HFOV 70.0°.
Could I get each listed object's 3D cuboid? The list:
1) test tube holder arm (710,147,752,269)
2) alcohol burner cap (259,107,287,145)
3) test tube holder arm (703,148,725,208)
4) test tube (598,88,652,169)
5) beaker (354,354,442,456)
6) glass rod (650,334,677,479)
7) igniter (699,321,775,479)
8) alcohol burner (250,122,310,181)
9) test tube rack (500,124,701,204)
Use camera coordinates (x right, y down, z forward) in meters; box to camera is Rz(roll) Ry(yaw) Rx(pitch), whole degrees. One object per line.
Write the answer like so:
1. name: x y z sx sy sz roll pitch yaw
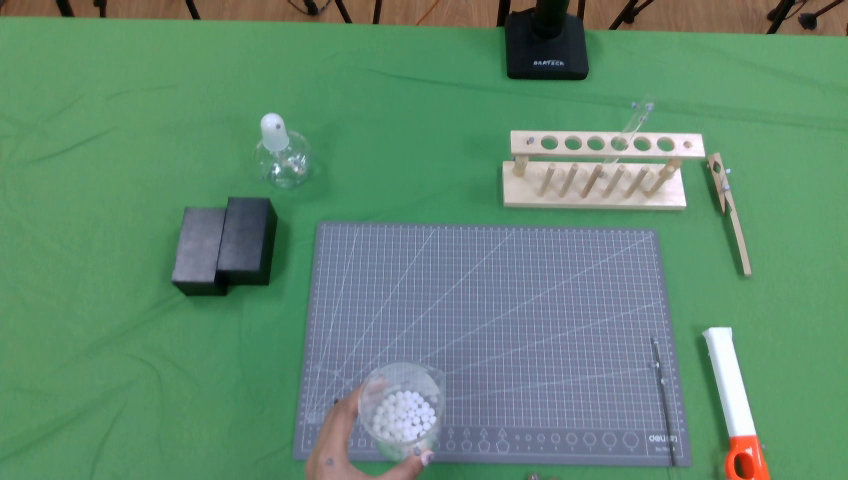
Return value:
1. test tube holder arm: 0.409 -0.046 0.811 0.013 0.015 0.177 -20 63 29
2. alcohol burner cap: -0.188 -0.144 0.749 0.034 0.048 0.033 3 60 -5
3. test tube holder arm: 0.400 -0.085 0.831 0.010 0.015 0.087 -20 64 29
4. test tube: 0.247 -0.135 0.757 0.017 0.151 0.017 3 62 -5
5. beaker: -0.019 0.155 0.562 0.084 0.101 0.073 -34 66 -17
6. glass rod: 0.278 0.205 0.701 0.008 0.008 0.198 1 66 -1
7. igniter: 0.359 0.226 0.687 0.057 0.025 0.274 2 66 -11
8. alcohol burner: -0.189 -0.128 0.781 0.078 0.120 0.077 0 64 1
9. test tube rack: 0.226 -0.098 0.794 0.242 0.086 0.066 1 66 -1
